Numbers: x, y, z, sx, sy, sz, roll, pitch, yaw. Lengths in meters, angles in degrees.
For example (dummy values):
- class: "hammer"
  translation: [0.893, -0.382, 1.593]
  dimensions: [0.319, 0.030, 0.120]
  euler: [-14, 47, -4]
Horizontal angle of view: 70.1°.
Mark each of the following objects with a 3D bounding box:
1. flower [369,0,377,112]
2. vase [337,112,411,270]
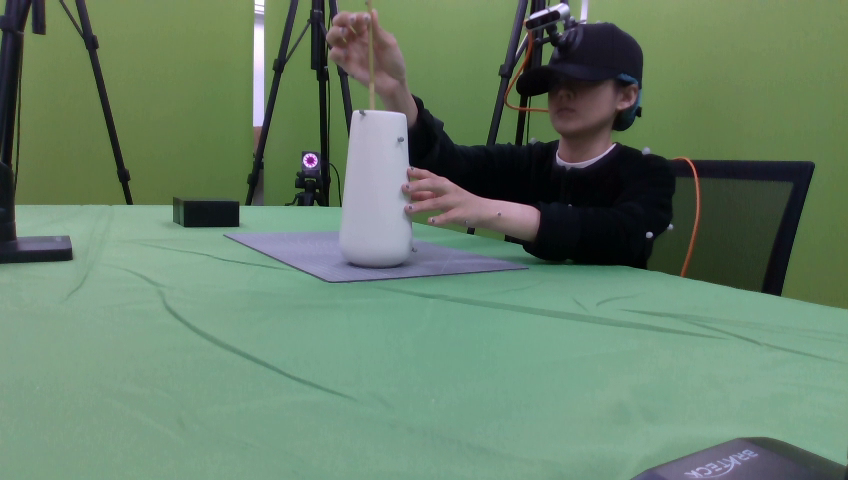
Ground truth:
- class: "flower"
  translation: [-0.068, -0.238, 0.790]
  dimensions: [0.044, 0.361, 0.038]
  euler: [-4, 9, -16]
- class: "vase"
  translation: [-0.064, -0.064, 0.790]
  dimensions: [0.098, 0.200, 0.098]
  euler: [2, 7, 0]
